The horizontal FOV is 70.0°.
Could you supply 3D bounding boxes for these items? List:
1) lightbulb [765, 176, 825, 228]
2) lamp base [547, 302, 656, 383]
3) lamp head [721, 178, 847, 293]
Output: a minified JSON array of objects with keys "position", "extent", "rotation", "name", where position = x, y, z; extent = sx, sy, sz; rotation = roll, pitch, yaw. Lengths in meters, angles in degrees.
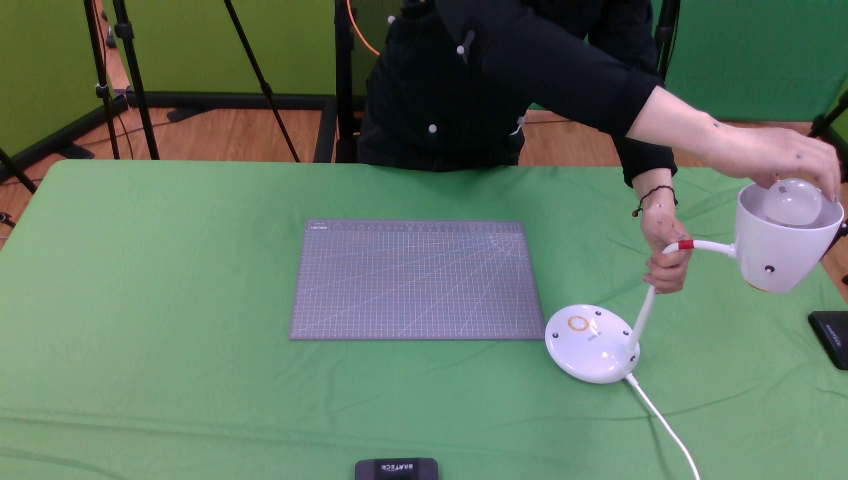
[{"position":[0.427,-0.024,0.710],"extent":[0.059,0.108,0.059],"rotation":[-2,32,1],"name":"lightbulb"},{"position":[0.304,0.127,0.982],"extent":[0.160,0.181,0.178],"rotation":[-33,59,-29],"name":"lamp base"},{"position":[0.422,0.001,0.726],"extent":[0.112,0.123,0.112],"rotation":[0,38,1],"name":"lamp head"}]
